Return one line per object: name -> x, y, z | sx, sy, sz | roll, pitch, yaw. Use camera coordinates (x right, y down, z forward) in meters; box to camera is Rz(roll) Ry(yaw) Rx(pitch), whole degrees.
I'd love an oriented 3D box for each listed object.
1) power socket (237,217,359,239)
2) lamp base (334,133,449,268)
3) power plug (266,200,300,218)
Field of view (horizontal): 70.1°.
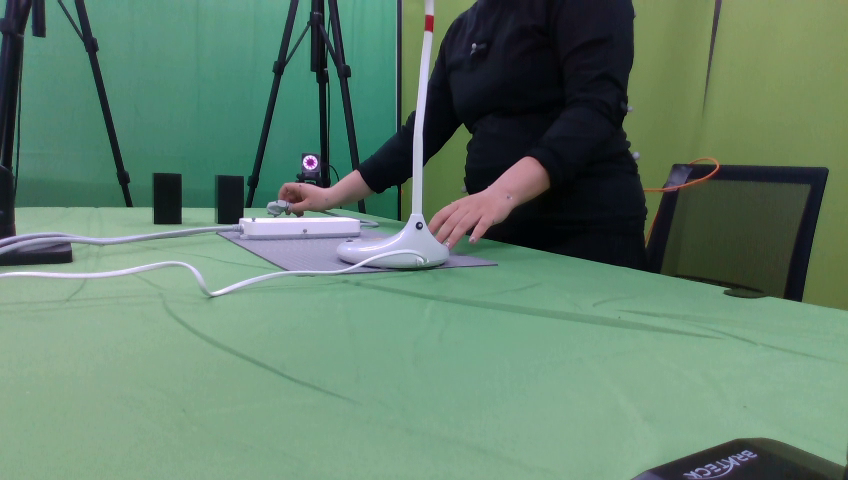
power socket -> -0.221, -0.023, 1.080 | 0.228, 0.032, 0.072 | -2, 7, -32
lamp base -> -0.034, -0.057, 0.831 | 0.161, 0.180, 0.178 | -3, 12, -36
power plug -> -0.333, -0.067, 1.411 | 0.073, 0.035, 0.052 | 20, -41, -15
